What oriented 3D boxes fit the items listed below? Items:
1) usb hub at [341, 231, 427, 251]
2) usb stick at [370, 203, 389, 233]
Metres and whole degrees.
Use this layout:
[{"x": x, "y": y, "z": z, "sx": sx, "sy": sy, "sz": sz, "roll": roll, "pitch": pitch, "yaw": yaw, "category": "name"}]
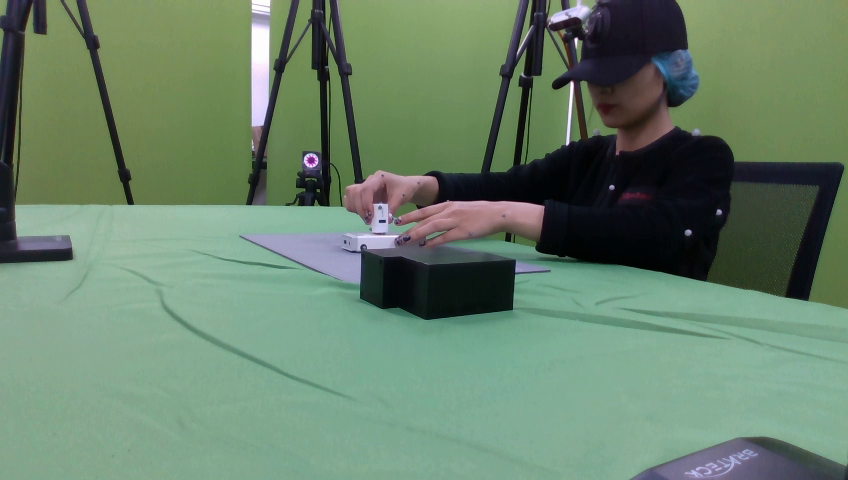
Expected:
[{"x": -0.061, "y": 0.001, "z": 0.931, "sx": 0.126, "sy": 0.025, "sz": 0.049, "roll": -2, "pitch": 7, "yaw": -28, "category": "usb hub"}, {"x": -0.068, "y": -0.028, "z": 0.927, "sx": 0.021, "sy": 0.059, "sz": 0.027, "roll": -2, "pitch": 9, "yaw": -29, "category": "usb stick"}]
